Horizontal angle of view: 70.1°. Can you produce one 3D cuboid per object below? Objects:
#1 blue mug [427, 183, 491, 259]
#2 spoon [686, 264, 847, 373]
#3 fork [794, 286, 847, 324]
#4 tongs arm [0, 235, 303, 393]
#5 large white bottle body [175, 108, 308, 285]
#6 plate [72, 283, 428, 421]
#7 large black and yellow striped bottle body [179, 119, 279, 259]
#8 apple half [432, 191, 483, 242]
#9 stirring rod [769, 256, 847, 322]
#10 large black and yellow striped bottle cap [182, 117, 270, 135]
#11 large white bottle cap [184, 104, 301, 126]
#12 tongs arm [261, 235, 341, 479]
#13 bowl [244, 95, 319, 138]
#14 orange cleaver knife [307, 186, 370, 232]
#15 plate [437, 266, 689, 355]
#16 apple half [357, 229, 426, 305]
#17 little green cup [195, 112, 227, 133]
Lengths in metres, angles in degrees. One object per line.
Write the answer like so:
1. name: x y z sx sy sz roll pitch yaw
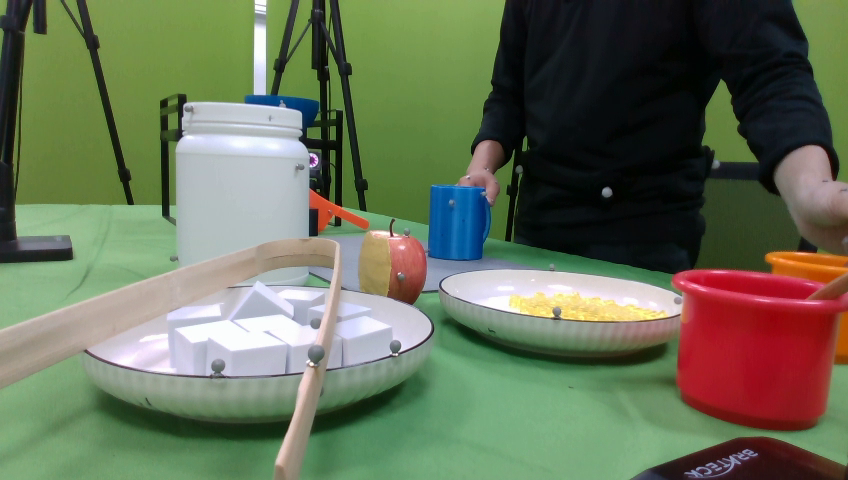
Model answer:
1. blue mug: 0.060 -0.031 0.905 0.117 0.106 0.082 -4 10 -42
2. spoon: 0.214 0.032 0.328 0.042 0.021 0.193 -3 -35 -26
3. fork: 0.332 0.018 0.442 0.028 0.018 0.207 -4 -35 -17
4. tongs arm: -0.157 0.037 0.351 0.028 0.028 0.388 -3 8 12
5. large white bottle body: -0.188 -0.042 0.630 0.131 0.184 0.130 2 8 0
6. plate: -0.102 0.067 0.381 0.208 0.039 0.207 2 7 0
7. large black and yellow striped bottle body: -0.271 -0.074 0.846 0.131 0.184 0.130 0 9 0
8. apple half: 0.049 -0.037 0.904 0.081 0.081 0.033 3 14 3
9. stirring rod: 0.355 0.010 0.493 0.006 0.176 0.014 47 15 8
10. large black and yellow striped bottle cap: -0.272 -0.156 0.833 0.115 0.019 0.115 1 7 0
11. large white bottle cap: -0.184 -0.126 0.618 0.115 0.018 0.115 2 8 0
12. tongs arm: -0.073 0.039 0.349 0.051 0.026 0.384 -1 10 -3
13. bowl: -0.293 -0.251 1.249 0.151 0.077 0.151 2 7 0
14. orange cleaver knife: -0.197 -0.056 1.140 0.212 0.077 0.012 29 0 -34
15. plate: 0.114 0.057 0.518 0.209 0.038 0.209 3 7 0
16. apple half: -0.026 0.028 0.570 0.053 0.074 0.080 3 2 -28
17. little green cup: -0.412 -0.227 1.171 0.061 0.038 0.061 3 8 0
